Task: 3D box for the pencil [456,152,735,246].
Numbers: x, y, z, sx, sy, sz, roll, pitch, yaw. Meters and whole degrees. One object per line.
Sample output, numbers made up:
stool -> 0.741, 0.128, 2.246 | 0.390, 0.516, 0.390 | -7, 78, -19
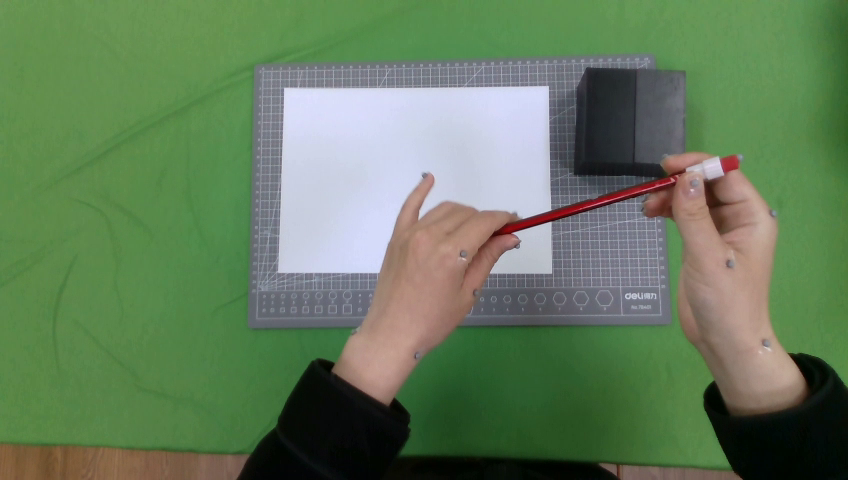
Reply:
pencil -> 0.104, -0.022, 0.406 | 0.193, 0.012, 0.012 | -18, 80, 30
